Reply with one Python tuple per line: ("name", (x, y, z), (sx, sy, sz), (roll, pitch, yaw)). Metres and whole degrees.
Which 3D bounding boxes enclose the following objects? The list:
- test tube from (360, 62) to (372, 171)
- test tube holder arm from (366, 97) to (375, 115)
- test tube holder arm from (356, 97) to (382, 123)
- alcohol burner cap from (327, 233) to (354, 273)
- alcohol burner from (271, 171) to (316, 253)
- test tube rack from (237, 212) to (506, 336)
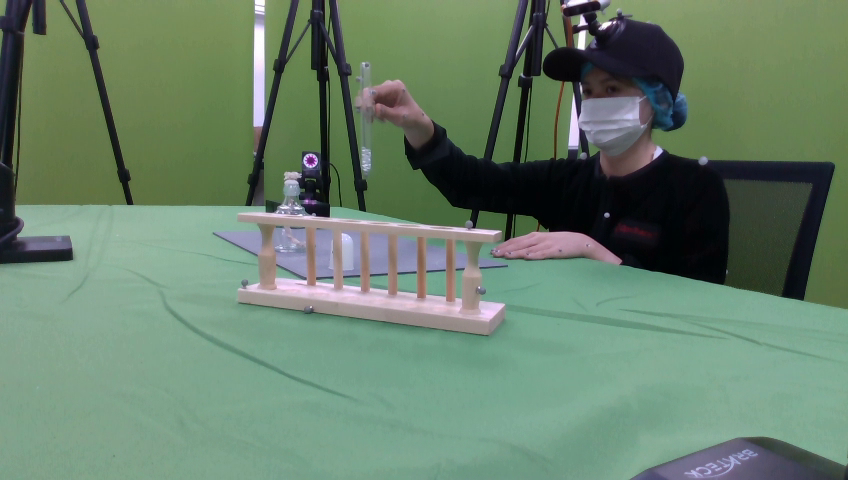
("test tube", (-0.080, -0.170, 0.838), (0.017, 0.150, 0.017), (0, 0, 0))
("test tube holder arm", (-0.076, -0.190, 0.861), (0.010, 0.015, 0.087), (5, 4, -4))
("test tube holder arm", (-0.081, -0.194, 0.906), (0.013, 0.015, 0.178), (6, 4, 3))
("alcohol burner cap", (-0.104, 0.015, 0.752), (0.034, 0.048, 0.034), (3, 7, 0))
("alcohol burner", (-0.196, -0.041, 0.884), (0.078, 0.119, 0.078), (3, 5, 0))
("test tube rack", (-0.049, 0.024, 0.552), (0.242, 0.085, 0.067), (5, 8, 18))
